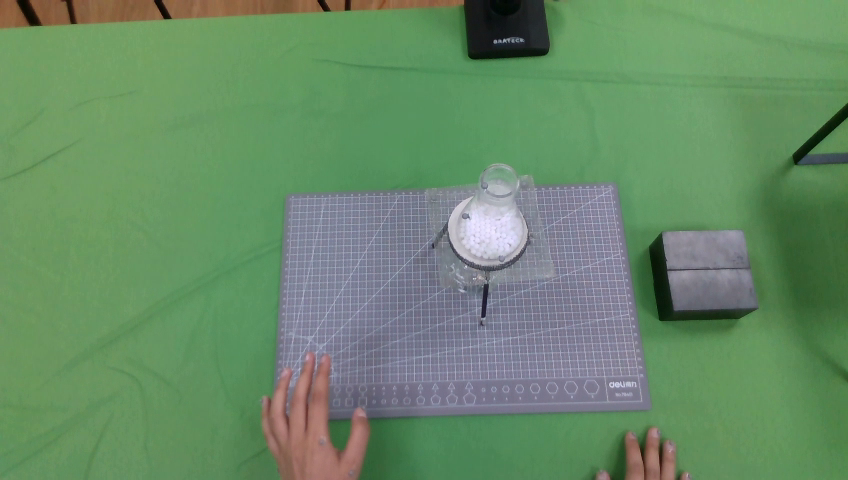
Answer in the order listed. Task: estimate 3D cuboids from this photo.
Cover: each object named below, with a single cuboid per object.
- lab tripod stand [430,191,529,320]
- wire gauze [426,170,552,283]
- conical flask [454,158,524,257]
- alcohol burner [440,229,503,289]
[{"bbox_3d":[0.073,0.007,0.720,0.148,0.132,0.147,0,68,1],"label":"lab tripod stand"},{"bbox_3d":[0.069,-0.015,0.659,0.125,0.011,0.120,-6,71,-4],"label":"wire gauze"},{"bbox_3d":[0.069,-0.037,0.603,0.075,0.122,0.075,0,68,0],"label":"conical flask"},{"bbox_3d":[0.059,0.017,0.727,0.078,0.120,0.077,0,69,0],"label":"alcohol burner"}]
